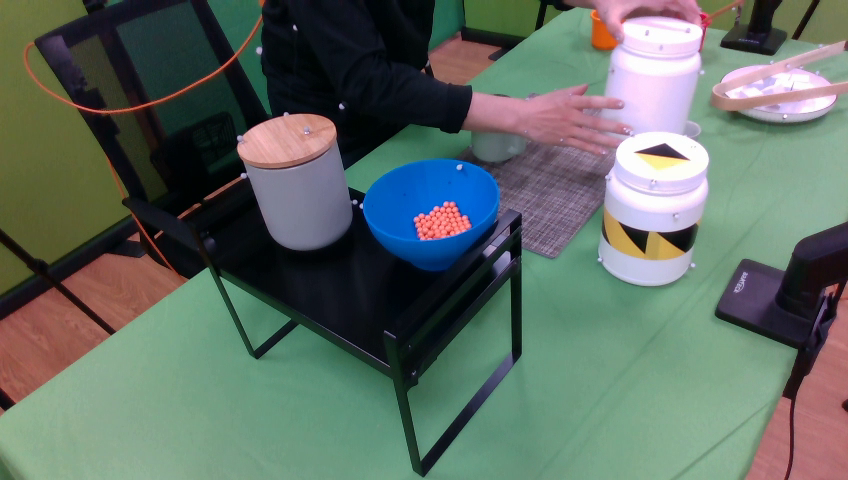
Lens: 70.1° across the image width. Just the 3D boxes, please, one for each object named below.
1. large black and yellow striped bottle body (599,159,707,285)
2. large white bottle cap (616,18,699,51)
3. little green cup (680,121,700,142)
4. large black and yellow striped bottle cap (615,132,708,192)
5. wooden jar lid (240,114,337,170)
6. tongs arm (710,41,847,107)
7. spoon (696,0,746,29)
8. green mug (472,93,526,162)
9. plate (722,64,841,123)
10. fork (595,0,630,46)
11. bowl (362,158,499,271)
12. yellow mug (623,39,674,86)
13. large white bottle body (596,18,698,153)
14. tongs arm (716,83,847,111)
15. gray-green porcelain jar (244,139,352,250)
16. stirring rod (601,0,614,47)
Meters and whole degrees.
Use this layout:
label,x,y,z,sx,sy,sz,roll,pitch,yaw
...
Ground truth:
label,x,y,z,sx,sy,sz,roll,pitch,yaw
large black and yellow striped bottle body,0.320,-0.042,0.854,0.131,0.185,0.130,-4,41,4
large white bottle cap,0.342,-0.303,0.890,0.115,0.018,0.114,-1,35,1
little green cup,0.473,-0.188,1.113,0.061,0.039,0.061,-6,40,5
large black and yellow striped bottle cap,0.312,-0.105,0.798,0.115,0.019,0.114,-5,42,5
wooden jar lid,-0.149,-0.106,0.673,0.108,0.021,0.108,-6,39,5
tongs arm,0.712,-0.332,1.194,0.386,0.026,0.050,-19,45,-16
spoon,0.629,-0.485,1.350,0.022,0.193,0.042,48,54,-7
green mug,0.144,-0.202,1.123,0.093,0.105,0.124,-29,45,-23
plate,0.695,-0.283,1.189,0.207,0.039,0.206,-4,40,4
fork,0.480,-0.556,1.452,0.028,0.019,0.207,40,103,37
bowl,0.011,-0.019,0.679,0.151,0.077,0.150,-5,41,5
yellow mug,0.484,-0.398,1.333,0.100,0.064,0.130,-18,40,-11
large white bottle body,0.346,-0.236,0.942,0.130,0.185,0.130,-1,37,1
tongs arm,0.738,-0.281,1.134,0.388,0.028,0.028,-9,47,-5
gray-green porcelain jar,-0.144,-0.060,0.714,0.106,0.127,0.105,-4,41,4
stirring rod,0.439,-0.552,1.463,0.014,0.006,0.175,-7,83,2
